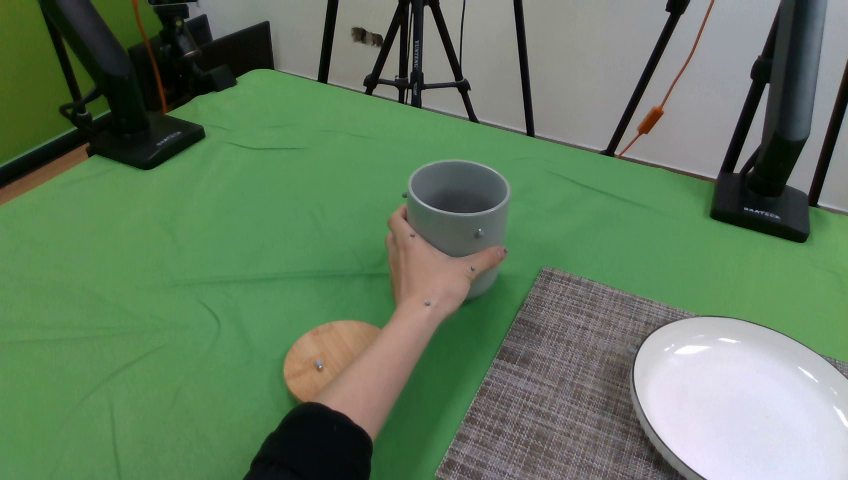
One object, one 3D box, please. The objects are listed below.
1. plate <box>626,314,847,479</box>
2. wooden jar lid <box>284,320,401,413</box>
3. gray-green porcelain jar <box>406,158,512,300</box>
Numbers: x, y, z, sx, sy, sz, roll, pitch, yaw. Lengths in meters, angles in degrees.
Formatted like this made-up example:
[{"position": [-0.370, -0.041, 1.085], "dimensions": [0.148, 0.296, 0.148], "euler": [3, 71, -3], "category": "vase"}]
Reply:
[{"position": [0.281, 0.151, 0.533], "dimensions": [0.208, 0.039, 0.205], "euler": [2, 38, -1], "category": "plate"}, {"position": [-0.076, 0.119, 0.568], "dimensions": [0.108, 0.021, 0.107], "euler": [4, 38, -3], "category": "wooden jar lid"}, {"position": [0.033, -0.007, 0.649], "dimensions": [0.106, 0.127, 0.105], "euler": [3, 38, -2], "category": "gray-green porcelain jar"}]
